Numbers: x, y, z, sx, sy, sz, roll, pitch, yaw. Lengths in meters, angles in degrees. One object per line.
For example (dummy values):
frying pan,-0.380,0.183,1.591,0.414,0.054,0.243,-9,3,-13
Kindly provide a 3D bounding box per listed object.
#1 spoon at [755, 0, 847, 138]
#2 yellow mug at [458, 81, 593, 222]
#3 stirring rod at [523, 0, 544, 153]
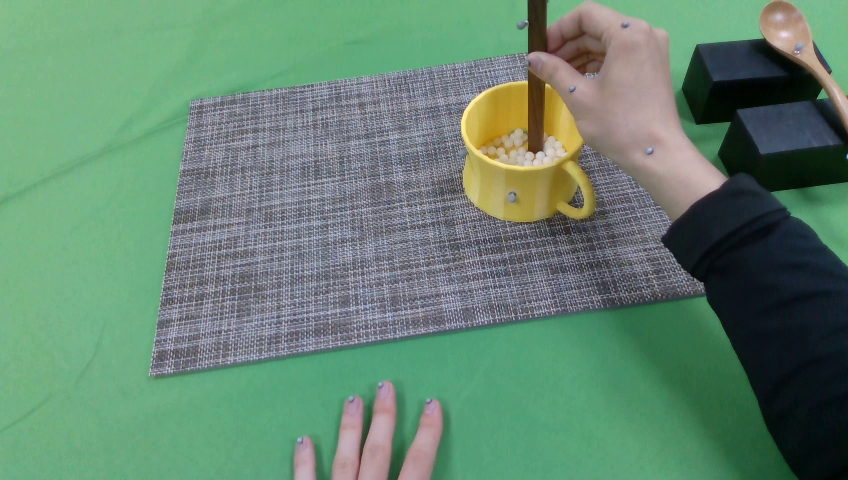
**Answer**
spoon,0.318,-0.126,0.486,0.041,0.022,0.192,-8,57,-2
yellow mug,0.088,-0.064,0.492,0.100,0.064,0.129,-35,60,-18
stirring rod,0.083,-0.130,0.462,0.014,0.178,0.006,16,59,20
